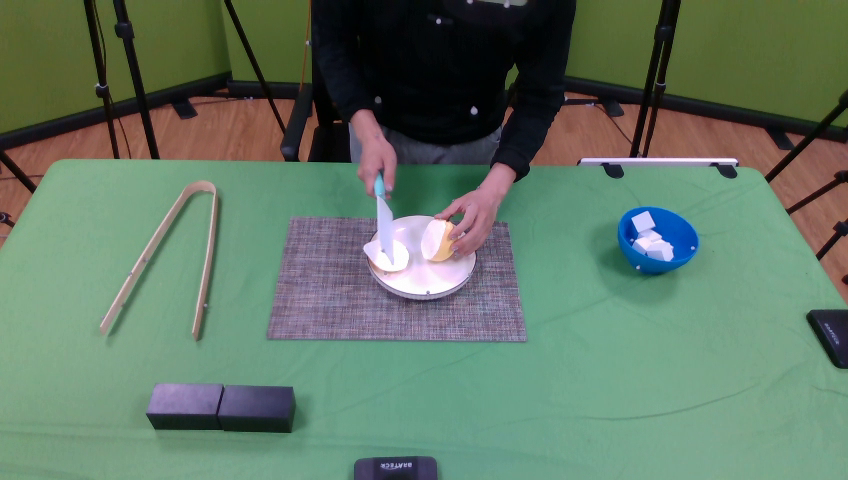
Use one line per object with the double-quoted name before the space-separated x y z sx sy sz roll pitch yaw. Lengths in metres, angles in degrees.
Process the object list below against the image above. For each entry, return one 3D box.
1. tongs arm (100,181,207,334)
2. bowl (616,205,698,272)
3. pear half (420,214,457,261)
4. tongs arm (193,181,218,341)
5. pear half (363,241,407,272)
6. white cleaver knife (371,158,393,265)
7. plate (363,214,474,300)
"tongs arm" -0.494 0.018 1.132 0.051 0.026 0.382 7 45 -1
"bowl" 0.443 0.010 1.182 0.151 0.077 0.150 2 46 -2
"pear half" 0.038 -0.009 1.123 0.056 0.110 0.076 0 54 -28
"tongs arm" -0.413 0.024 1.140 0.028 0.028 0.385 -5 47 -7
"pear half" -0.077 0.032 1.137 0.088 0.031 0.070 17 46 -13
"white cleaver knife" -0.079 -0.059 1.120 0.021 0.066 0.284 -21 38 12
"plate" -0.010 0.036 1.146 0.208 0.039 0.206 2 46 -2
